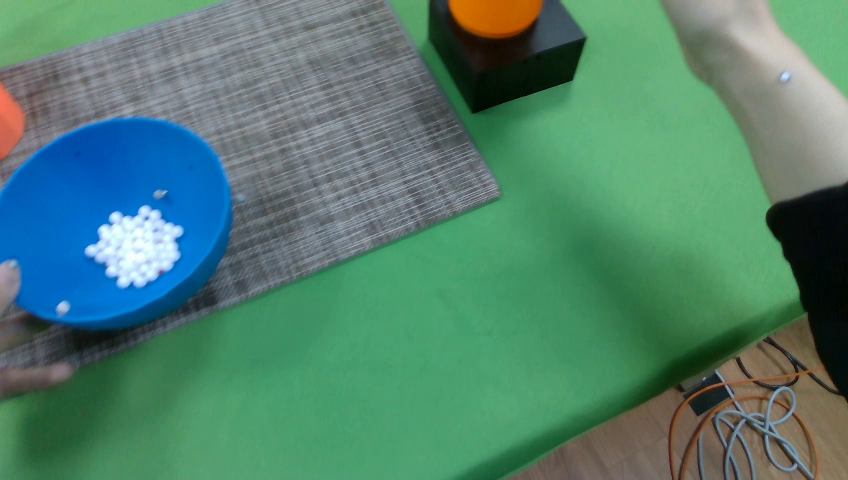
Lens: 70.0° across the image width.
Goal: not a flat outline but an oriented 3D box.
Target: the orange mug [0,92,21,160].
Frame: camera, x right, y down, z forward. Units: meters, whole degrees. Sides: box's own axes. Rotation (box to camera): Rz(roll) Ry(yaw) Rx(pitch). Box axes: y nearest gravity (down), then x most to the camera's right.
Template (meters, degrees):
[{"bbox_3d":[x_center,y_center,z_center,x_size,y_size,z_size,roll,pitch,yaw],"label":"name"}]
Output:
[{"bbox_3d":[-0.383,-0.125,0.468,0.083,0.101,0.125,-11,67,-7],"label":"orange mug"}]

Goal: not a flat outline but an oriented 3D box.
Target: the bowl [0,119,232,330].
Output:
[{"bbox_3d":[-0.200,0.000,0.417,0.151,0.077,0.150,1,62,-1],"label":"bowl"}]
